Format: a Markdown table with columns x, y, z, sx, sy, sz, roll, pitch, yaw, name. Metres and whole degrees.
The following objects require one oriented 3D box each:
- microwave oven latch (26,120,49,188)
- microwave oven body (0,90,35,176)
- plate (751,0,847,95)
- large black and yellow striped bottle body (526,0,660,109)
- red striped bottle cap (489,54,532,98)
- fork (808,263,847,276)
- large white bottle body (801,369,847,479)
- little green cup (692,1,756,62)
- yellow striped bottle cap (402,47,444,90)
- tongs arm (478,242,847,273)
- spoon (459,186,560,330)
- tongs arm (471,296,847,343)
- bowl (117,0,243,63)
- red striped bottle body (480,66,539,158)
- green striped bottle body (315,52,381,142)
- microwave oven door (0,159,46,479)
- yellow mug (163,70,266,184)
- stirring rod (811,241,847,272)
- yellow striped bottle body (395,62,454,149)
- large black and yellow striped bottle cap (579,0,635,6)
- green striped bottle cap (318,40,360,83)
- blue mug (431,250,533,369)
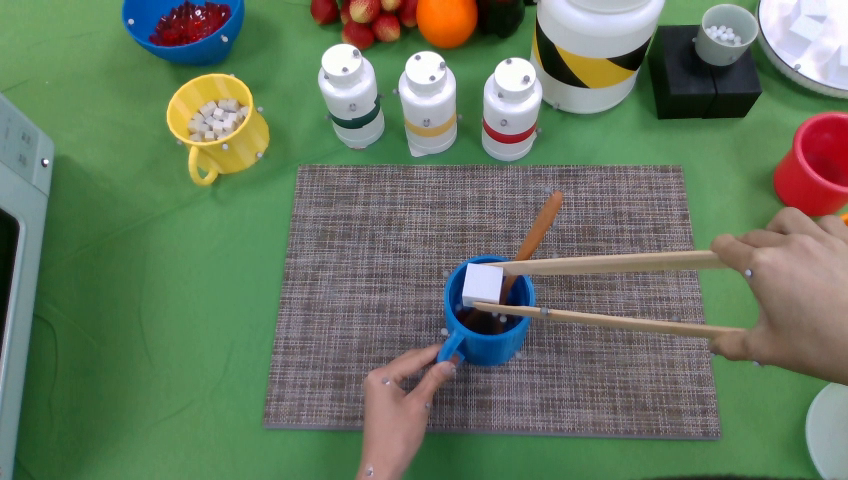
| x | y | z | sx | sy | sz | roll | pitch | yaw | name |
| --- | --- | --- | --- | --- | --- | --- | --- | --- | --- |
| -0.461 | -0.099 | 0.708 | 0.030 | 0.030 | 0.078 | -6 | 68 | 0 | microwave oven latch |
| -0.590 | 0.045 | 0.550 | 0.326 | 0.262 | 0.438 | -8 | 67 | -1 | microwave oven body |
| 0.506 | -0.261 | 0.744 | 0.209 | 0.038 | 0.207 | -1 | 68 | 3 | plate |
| 0.186 | -0.250 | 0.678 | 0.131 | 0.185 | 0.130 | -1 | 67 | 3 | large black and yellow striped bottle body |
| 0.090 | -0.170 | 0.627 | 0.044 | 0.018 | 0.044 | 1 | 66 | -1 | red striped bottle cap |
| 0.447 | 0.039 | 0.560 | 0.028 | 0.019 | 0.205 | -36 | 26 | -11 | fork |
| 0.418 | 0.153 | 0.493 | 0.130 | 0.186 | 0.129 | -1 | 66 | 3 | large white bottle body |
| 0.337 | -0.235 | 0.687 | 0.061 | 0.039 | 0.061 | 0 | 65 | 0 | little green cup |
| -0.001 | -0.180 | 0.637 | 0.044 | 0.019 | 0.044 | -1 | 68 | 3 | yellow striped bottle cap |
| 0.204 | 0.020 | 0.419 | 0.385 | 0.028 | 0.028 | -2 | 62 | 38 | tongs arm |
| 0.078 | 0.031 | 0.556 | 0.041 | 0.195 | 0.021 | 37 | 39 | 17 | spoon |
| 0.199 | 0.041 | 0.412 | 0.382 | 0.027 | 0.050 | 3 | 69 | 39 | tongs arm |
| -0.298 | -0.282 | 0.775 | 0.151 | 0.077 | 0.150 | -1 | 67 | 2 | bowl |
| 0.094 | -0.149 | 0.675 | 0.063 | 0.120 | 0.062 | -2 | 65 | 5 | red striped bottle body |
| -0.086 | -0.169 | 0.694 | 0.063 | 0.120 | 0.062 | -1 | 67 | 3 | green striped bottle body |
| -0.440 | 0.060 | 0.530 | 0.039 | 0.245 | 0.353 | -8 | 67 | 0 | microwave oven door |
| -0.250 | -0.127 | 0.714 | 0.100 | 0.064 | 0.130 | 10 | 69 | 6 | yellow mug |
| 0.416 | 0.038 | 0.570 | 0.014 | 0.006 | 0.175 | 3 | 24 | 1 | stirring rod |
| 0.002 | -0.160 | 0.684 | 0.063 | 0.121 | 0.062 | -1 | 66 | 4 | yellow striped bottle body |
| 0.180 | -0.282 | 0.600 | 0.115 | 0.019 | 0.114 | -1 | 66 | 3 | large black and yellow striped bottle cap |
| -0.091 | -0.190 | 0.646 | 0.044 | 0.020 | 0.044 | 0 | 67 | 1 | green striped bottle cap |
| 0.048 | 0.079 | 0.585 | 0.082 | 0.106 | 0.116 | 39 | 74 | 18 | blue mug |
